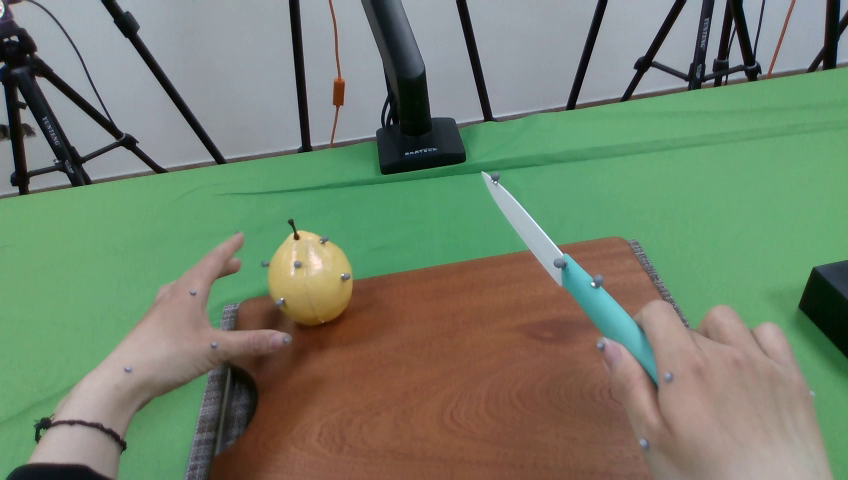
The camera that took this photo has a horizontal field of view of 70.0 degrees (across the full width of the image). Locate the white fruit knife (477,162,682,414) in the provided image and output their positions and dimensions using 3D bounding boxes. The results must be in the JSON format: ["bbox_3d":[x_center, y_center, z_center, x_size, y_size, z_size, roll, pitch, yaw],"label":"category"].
[{"bbox_3d":[0.090,0.018,0.388,0.016,0.027,0.205,-18,56,-29],"label":"white fruit knife"}]

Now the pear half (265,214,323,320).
[{"bbox_3d":[-0.122,0.021,0.558,0.056,0.111,0.075,-4,35,6],"label":"pear half"}]

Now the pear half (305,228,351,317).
[{"bbox_3d":[-0.085,0.028,0.559,0.031,0.089,0.070,-4,32,6],"label":"pear half"}]
